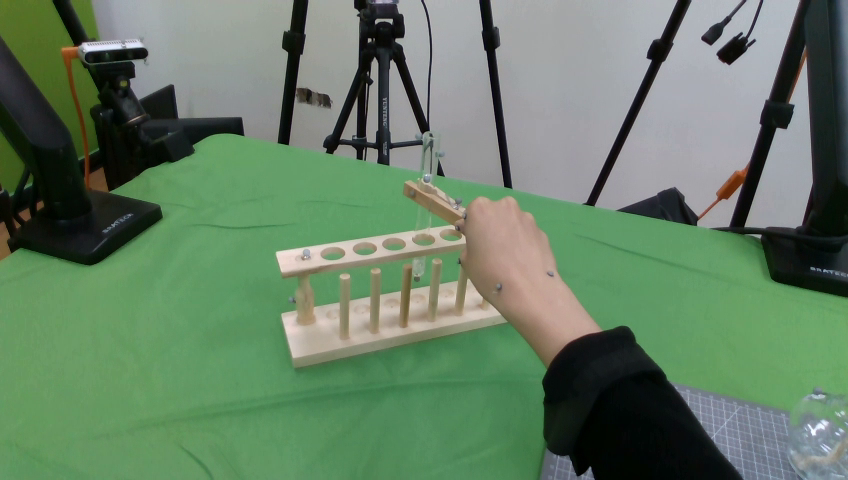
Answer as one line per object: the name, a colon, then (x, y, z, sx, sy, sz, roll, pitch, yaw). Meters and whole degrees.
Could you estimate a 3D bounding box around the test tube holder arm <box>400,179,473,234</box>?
test tube holder arm: (0.012, -0.030, 0.538, 0.087, 0.015, 0.010, 32, 42, 32)

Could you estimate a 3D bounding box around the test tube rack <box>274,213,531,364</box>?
test tube rack: (-0.014, 0.042, 0.583, 0.243, 0.086, 0.066, -9, 35, -19)

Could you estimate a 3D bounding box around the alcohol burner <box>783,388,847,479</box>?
alcohol burner: (0.318, 0.131, 0.450, 0.078, 0.120, 0.077, 3, 35, -2)

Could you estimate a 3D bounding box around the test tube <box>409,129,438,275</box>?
test tube: (-0.002, -0.031, 0.562, 0.017, 0.151, 0.017, 4, 32, -2)

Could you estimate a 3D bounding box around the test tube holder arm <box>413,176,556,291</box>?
test tube holder arm: (0.045, -0.011, 0.516, 0.013, 0.015, 0.176, -22, 44, -33)

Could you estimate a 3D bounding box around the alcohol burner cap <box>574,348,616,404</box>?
alcohol burner cap: (0.149, 0.114, 0.523, 0.034, 0.048, 0.033, 3, 35, -2)
